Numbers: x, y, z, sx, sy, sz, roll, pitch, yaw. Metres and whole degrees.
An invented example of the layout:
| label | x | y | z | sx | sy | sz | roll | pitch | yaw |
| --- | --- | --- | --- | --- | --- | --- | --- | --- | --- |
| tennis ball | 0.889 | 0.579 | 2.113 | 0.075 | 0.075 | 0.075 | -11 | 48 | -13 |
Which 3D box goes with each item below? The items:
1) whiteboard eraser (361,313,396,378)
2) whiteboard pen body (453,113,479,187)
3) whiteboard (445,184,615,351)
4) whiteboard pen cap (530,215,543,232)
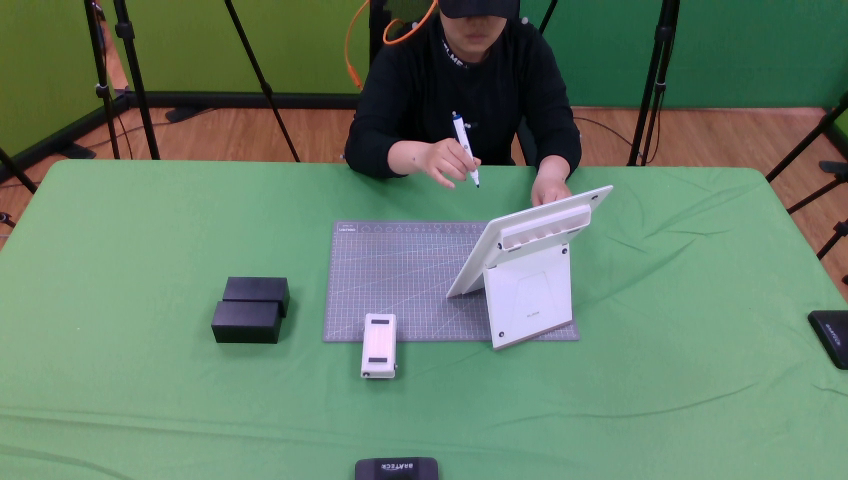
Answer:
| label | x | y | z | sx | sy | sz | roll | pitch | yaw |
| --- | --- | --- | --- | --- | --- | --- | --- | --- | --- |
| whiteboard eraser | -0.075 | 0.176 | 1.006 | 0.055 | 0.042 | 0.112 | 3 | 50 | -4 |
| whiteboard pen body | 0.077 | -0.158 | 1.075 | 0.017 | 0.141 | 0.017 | -17 | 24 | 8 |
| whiteboard | 0.187 | 0.065 | 0.989 | 0.217 | 0.306 | 0.143 | -15 | 68 | -18 |
| whiteboard pen cap | 0.221 | -0.032 | 1.187 | 0.018 | 0.018 | 0.033 | 20 | 51 | 15 |
